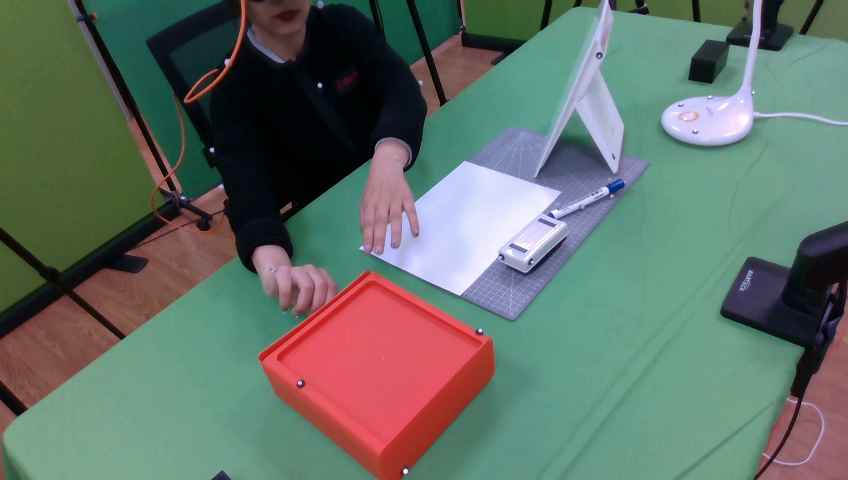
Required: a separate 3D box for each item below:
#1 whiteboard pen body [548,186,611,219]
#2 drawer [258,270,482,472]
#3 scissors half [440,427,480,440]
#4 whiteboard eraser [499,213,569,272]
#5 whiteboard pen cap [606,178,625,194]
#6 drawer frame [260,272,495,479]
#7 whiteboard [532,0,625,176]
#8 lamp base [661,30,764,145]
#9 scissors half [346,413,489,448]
[{"bbox_3d":[0.267,-0.066,1.004,0.141,0.017,0.017,-25,43,-13],"label":"whiteboard pen body"},{"bbox_3d":[-0.066,0.154,0.767,0.210,0.073,0.195,27,51,34],"label":"drawer"},{"bbox_3d":[-0.008,0.229,0.714,0.176,0.040,0.012,12,27,-25],"label":"scissors half"},{"bbox_3d":[0.168,0.006,0.923,0.055,0.042,0.113,29,53,34],"label":"whiteboard eraser"},{"bbox_3d":[0.320,-0.090,1.016,0.033,0.018,0.018,-27,43,-13],"label":"whiteboard pen cap"},{"bbox_3d":[-0.055,0.159,0.758,0.212,0.083,0.202,26,50,33],"label":"drawer frame"},{"bbox_3d":[0.320,-0.259,1.050,0.144,0.306,0.217,21,45,5],"label":"whiteboard"},{"bbox_3d":[0.535,-0.287,1.096,0.179,0.181,0.159,-10,40,-4],"label":"lamp base"},{"bbox_3d":[-0.006,0.219,0.708,0.176,0.040,0.012,-4,39,-17],"label":"scissors half"}]
